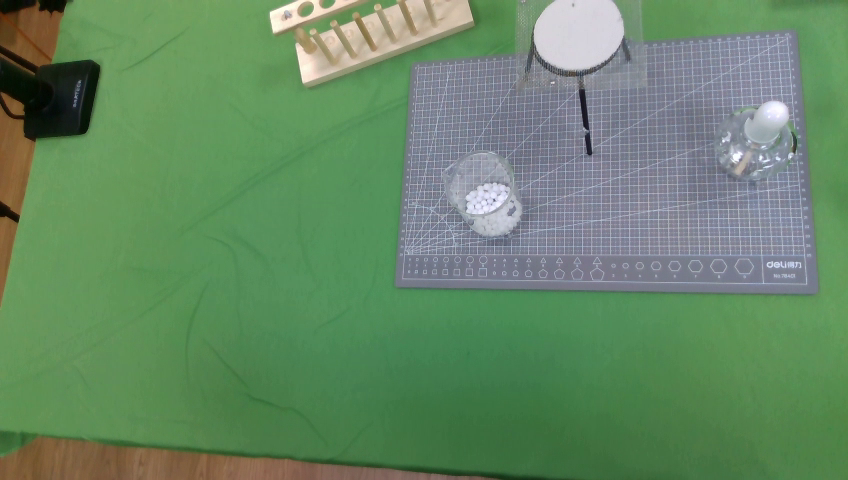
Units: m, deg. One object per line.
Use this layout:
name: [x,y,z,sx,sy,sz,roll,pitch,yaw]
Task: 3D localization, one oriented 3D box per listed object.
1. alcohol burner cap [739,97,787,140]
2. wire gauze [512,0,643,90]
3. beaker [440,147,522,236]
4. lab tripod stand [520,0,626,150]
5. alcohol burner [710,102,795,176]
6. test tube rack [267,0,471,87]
alcohol burner cap: [0.322,-0.117,0.571,0.034,0.048,0.033,-2,79,12]
wire gauze: [0.149,-0.206,0.597,0.125,0.011,0.121,-1,78,16]
beaker: [0.067,-0.050,0.672,0.083,0.101,0.074,20,82,21]
lab tripod stand: [0.167,-0.189,0.660,0.148,0.132,0.147,-3,76,13]
alcohol burner: [0.331,-0.108,0.604,0.078,0.120,0.077,-3,76,14]
test tube rack: [-0.070,-0.285,0.779,0.242,0.086,0.066,-17,72,11]
